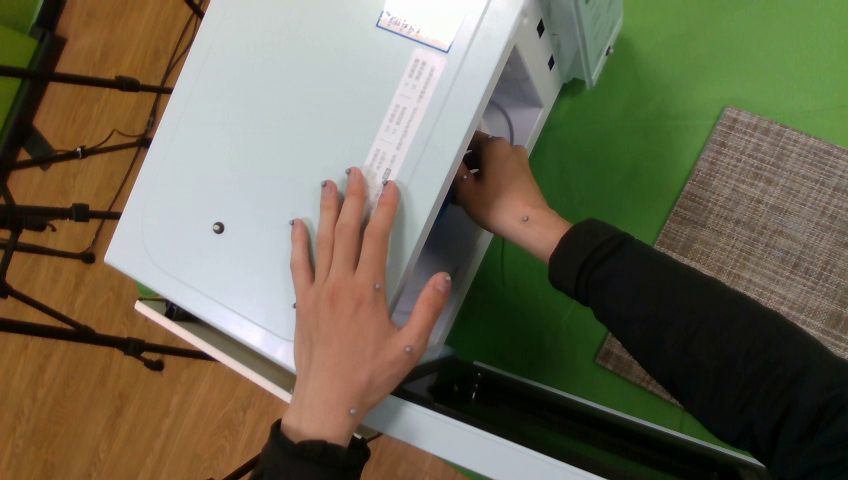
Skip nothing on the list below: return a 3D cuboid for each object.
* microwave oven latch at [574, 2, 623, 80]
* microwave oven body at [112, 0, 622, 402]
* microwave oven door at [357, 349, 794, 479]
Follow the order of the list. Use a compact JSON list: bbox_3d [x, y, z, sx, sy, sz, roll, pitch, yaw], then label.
[{"bbox_3d":[0.184,-0.213,0.641,0.030,0.029,0.079,26,95,18],"label":"microwave oven latch"},{"bbox_3d":[-0.045,-0.117,0.610,0.324,0.261,0.442,25,95,18],"label":"microwave oven body"},{"bbox_3d":[0.148,0.176,0.520,0.354,0.245,0.039,15,91,19],"label":"microwave oven door"}]
